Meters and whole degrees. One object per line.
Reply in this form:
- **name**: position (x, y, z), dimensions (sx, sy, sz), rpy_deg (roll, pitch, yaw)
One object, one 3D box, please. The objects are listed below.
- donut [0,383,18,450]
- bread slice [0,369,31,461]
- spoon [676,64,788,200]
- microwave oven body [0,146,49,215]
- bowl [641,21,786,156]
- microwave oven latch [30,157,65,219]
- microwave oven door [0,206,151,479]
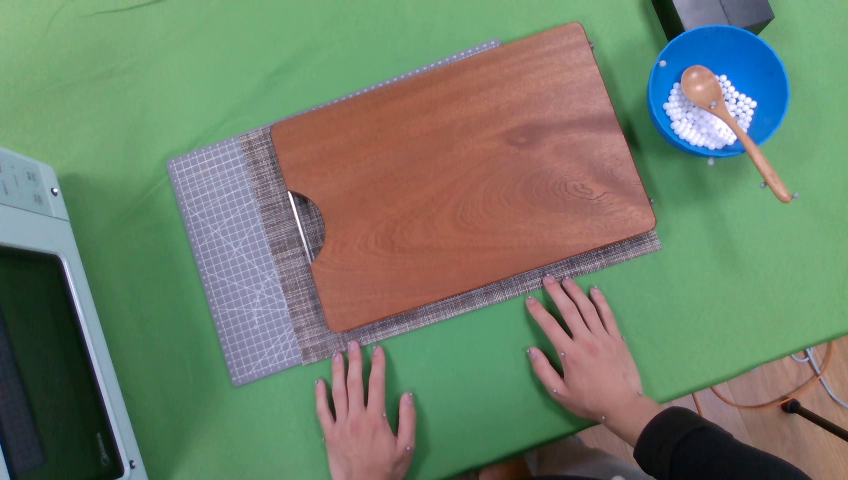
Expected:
- **donut**: position (-0.496, 0.193, 0.655), dimensions (0.099, 0.048, 0.099), rpy_deg (-1, 97, -12)
- **bread slice**: position (-0.524, 0.212, 0.686), dimensions (0.132, 0.019, 0.105), rpy_deg (-11, 90, -7)
- **spoon**: position (0.334, -0.121, 0.658), dimensions (0.041, 0.022, 0.191), rpy_deg (-20, 59, -1)
- **microwave oven body**: position (-0.554, 0.145, 0.630), dimensions (0.326, 0.261, 0.440), rpy_deg (-22, 83, 1)
- **bowl**: position (0.318, -0.162, 0.695), dimensions (0.151, 0.077, 0.151), rpy_deg (-1, 84, 5)
- **microwave oven latch**: position (-0.473, -0.060, 0.746), dimensions (0.030, 0.029, 0.079), rpy_deg (-21, 83, 1)
- **microwave oven door**: position (-0.403, 0.129, 0.616), dimensions (0.039, 0.244, 0.354), rpy_deg (-22, 82, 2)
